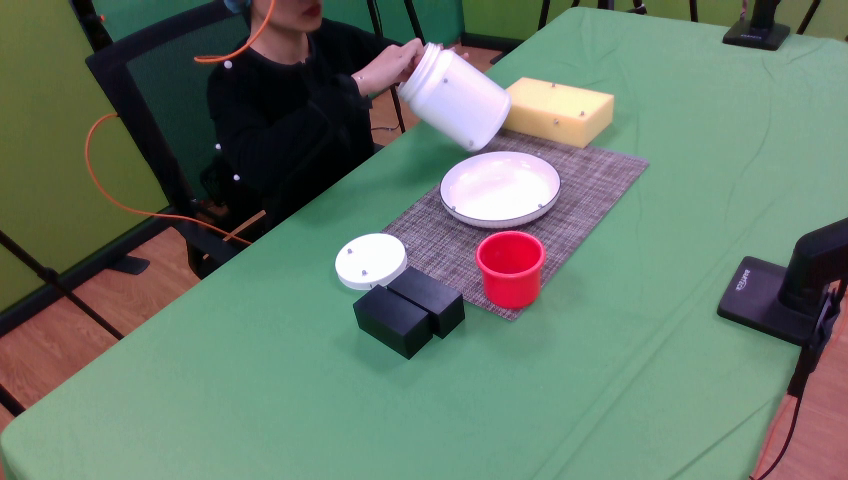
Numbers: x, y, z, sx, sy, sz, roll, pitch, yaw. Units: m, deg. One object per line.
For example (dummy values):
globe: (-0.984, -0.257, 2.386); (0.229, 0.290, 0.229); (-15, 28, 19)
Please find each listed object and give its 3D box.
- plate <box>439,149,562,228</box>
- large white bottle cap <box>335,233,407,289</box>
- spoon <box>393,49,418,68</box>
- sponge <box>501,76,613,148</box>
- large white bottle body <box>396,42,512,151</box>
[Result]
plate: (0.131, -0.085, 1.040); (0.209, 0.038, 0.208); (-5, 41, 5)
large white bottle cap: (-0.085, 0.032, 0.961); (0.115, 0.018, 0.114); (-6, 42, 6)
spoon: (0.025, -0.295, 1.099); (0.193, 0.021, 0.041); (29, 54, 6)
sponge: (0.254, -0.259, 1.207); (0.205, 0.061, 0.118); (22, 47, 31)
large white bottle body: (0.053, -0.264, 1.109); (0.185, 0.130, 0.130); (31, 41, -16)
